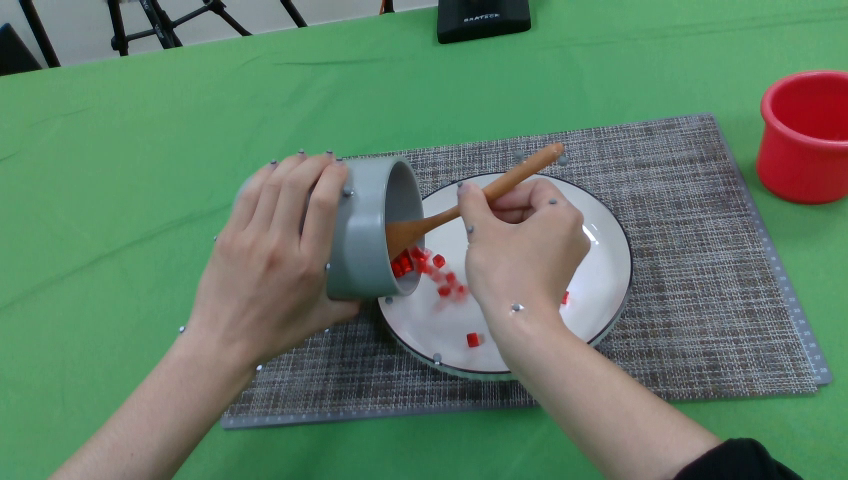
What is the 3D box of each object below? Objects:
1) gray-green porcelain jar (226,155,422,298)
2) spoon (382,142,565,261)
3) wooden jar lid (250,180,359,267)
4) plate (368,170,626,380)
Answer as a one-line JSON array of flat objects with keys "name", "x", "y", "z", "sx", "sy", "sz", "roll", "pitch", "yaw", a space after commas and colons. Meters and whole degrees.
[{"name": "gray-green porcelain jar", "x": -0.076, "y": -0.008, "z": 0.464, "sx": 0.126, "sy": 0.107, "sz": 0.105, "roll": -2, "pitch": 50, "yaw": 14}, {"name": "spoon", "x": 0.019, "y": -0.023, "z": 0.443, "sx": 0.193, "sy": 0.022, "sz": 0.041, "roll": -26, "pitch": 48, "yaw": 29}, {"name": "wooden jar lid", "x": -0.115, "y": -0.015, "z": 0.591, "sx": 0.108, "sy": 0.021, "sz": 0.107, "roll": -6, "pitch": 48, "yaw": 7}, {"name": "plate", "x": 0.057, "y": 0.027, "z": 0.501, "sx": 0.207, "sy": 0.039, "sz": 0.205, "roll": -7, "pitch": 49, "yaw": 8}]
